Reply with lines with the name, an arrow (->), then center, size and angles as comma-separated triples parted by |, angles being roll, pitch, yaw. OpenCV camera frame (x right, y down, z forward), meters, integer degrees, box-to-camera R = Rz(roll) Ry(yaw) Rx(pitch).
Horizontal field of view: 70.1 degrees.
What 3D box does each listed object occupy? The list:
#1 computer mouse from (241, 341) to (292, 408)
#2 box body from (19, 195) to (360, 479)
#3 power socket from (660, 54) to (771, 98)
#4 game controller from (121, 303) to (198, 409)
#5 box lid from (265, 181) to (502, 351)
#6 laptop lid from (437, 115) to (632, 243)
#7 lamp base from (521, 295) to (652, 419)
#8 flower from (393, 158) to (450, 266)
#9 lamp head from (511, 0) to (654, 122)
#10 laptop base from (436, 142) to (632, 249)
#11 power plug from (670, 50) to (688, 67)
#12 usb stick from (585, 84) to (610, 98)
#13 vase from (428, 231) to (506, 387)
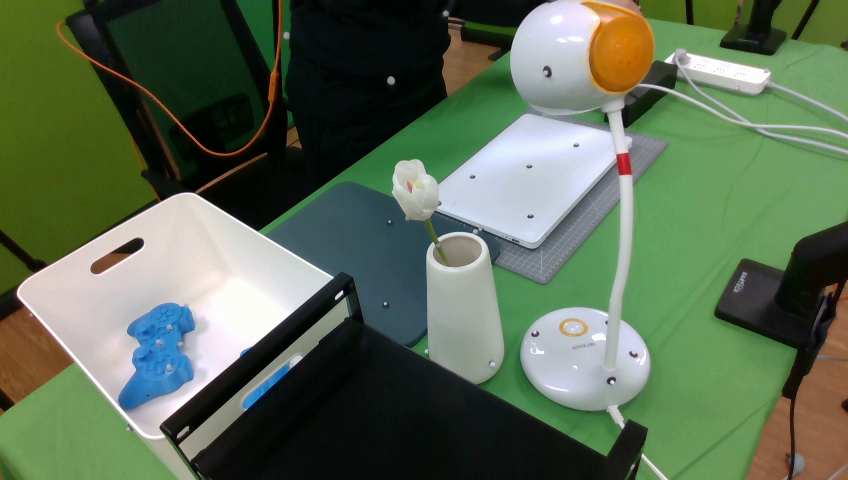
computer mouse -> -0.201, 0.177, 0.776 | 0.063, 0.041, 0.116 | -11, 44, -8
box body -> -0.288, 0.118, 0.772 | 0.361, 0.161, 0.255 | 26, 50, 33
power socket -> 0.617, -0.354, 1.290 | 0.225, 0.033, 0.072 | 27, 52, 33
game controller -> -0.364, 0.149, 0.828 | 0.097, 0.052, 0.154 | -13, 41, -9
box lid -> -0.087, 0.023, 0.971 | 0.368, 0.015, 0.264 | 23, 49, 31
laptop lid -> 0.189, -0.126, 1.081 | 0.239, 0.013, 0.358 | 23, 49, 34
lamp base -> 0.200, 0.095, 0.710 | 0.161, 0.181, 0.177 | -16, 43, -10
flower -> 0.028, 0.035, 0.664 | 0.043, 0.364, 0.038 | 36, 73, 30
lamp head -> 0.155, -0.168, 0.564 | 0.113, 0.113, 0.122 | -18, 23, -12
laptop base -> 0.192, -0.117, 1.087 | 0.233, 0.023, 0.355 | 21, 47, 34
power plug -> 0.539, -0.380, 1.304 | 0.073, 0.053, 0.035 | -30, 46, -22
usb stick -> 0.355, -0.307, 1.253 | 0.027, 0.021, 0.058 | -8, 8, -37
vase -> 0.050, 0.087, 0.728 | 0.098, 0.201, 0.097 | -3, 40, 3
